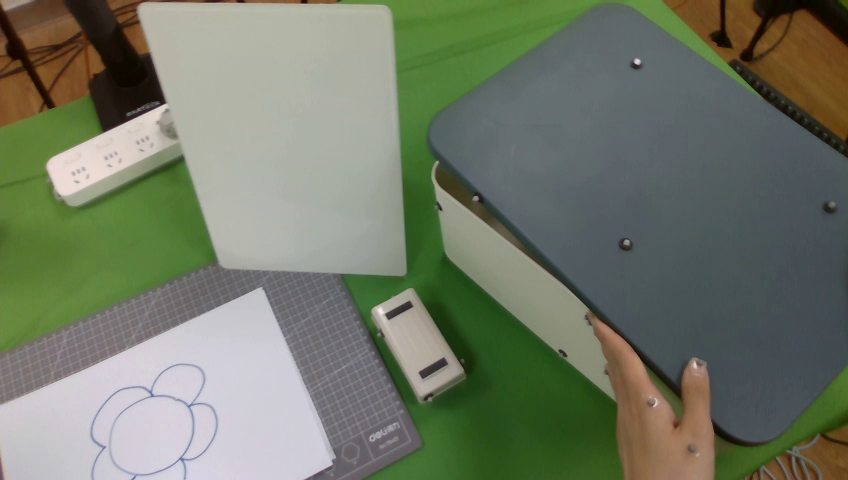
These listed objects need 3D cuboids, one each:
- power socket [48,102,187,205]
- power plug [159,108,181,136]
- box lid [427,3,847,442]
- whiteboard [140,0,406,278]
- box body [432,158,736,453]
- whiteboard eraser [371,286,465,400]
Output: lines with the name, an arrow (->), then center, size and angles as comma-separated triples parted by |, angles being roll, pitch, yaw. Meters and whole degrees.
power socket -> -0.365, -0.119, 0.775 | 0.227, 0.033, 0.071 | -29, 65, -14
power plug -> -0.307, -0.133, 0.755 | 0.035, 0.053, 0.072 | -20, 69, -9
box lid -> 0.205, -0.049, 0.511 | 0.263, 0.015, 0.368 | -37, 68, -17
whiteboard -> -0.123, -0.122, 0.649 | 0.217, 0.308, 0.142 | 3, 41, 4
box body -> 0.216, 0.002, 0.615 | 0.361, 0.162, 0.254 | 40, 70, 21
whiteboard eraser -> -0.007, 0.107, 0.635 | 0.055, 0.042, 0.111 | -27, 63, -14
